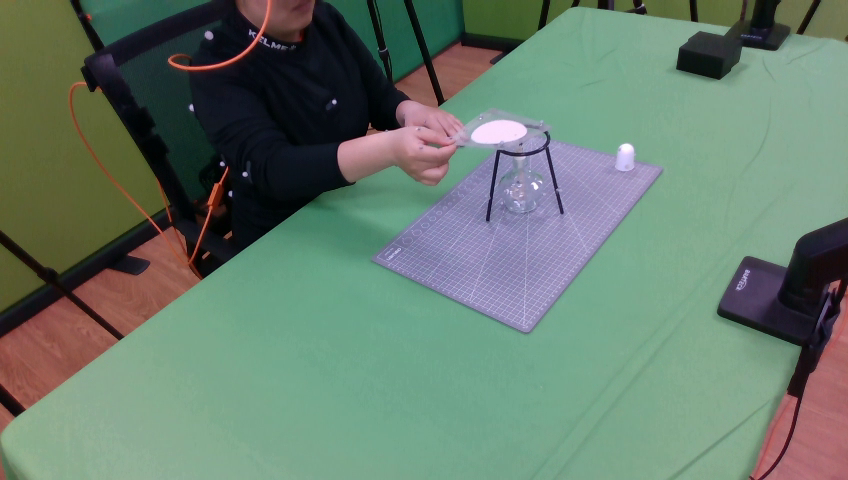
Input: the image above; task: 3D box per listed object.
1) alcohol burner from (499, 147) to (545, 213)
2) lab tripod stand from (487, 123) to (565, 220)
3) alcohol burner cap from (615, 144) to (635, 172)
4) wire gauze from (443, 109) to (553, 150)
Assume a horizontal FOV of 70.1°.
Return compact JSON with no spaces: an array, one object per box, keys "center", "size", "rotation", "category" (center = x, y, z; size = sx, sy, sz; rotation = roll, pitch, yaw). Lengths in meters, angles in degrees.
[{"center":[0.161,-0.104,1.001],"size":[0.078,0.120,0.077],"rotation":[-6,42,6],"category":"alcohol burner"},{"center":[0.162,-0.110,0.992],"size":[0.148,0.132,0.147],"rotation":[-5,42,5],"category":"lab tripod stand"},{"center":[0.357,-0.147,1.069],"size":[0.034,0.048,0.033],"rotation":[-6,40,6],"category":"alcohol burner cap"},{"center":[0.114,-0.169,0.931],"size":[0.120,0.011,0.125],"rotation":[22,44,39],"category":"wire gauze"}]
